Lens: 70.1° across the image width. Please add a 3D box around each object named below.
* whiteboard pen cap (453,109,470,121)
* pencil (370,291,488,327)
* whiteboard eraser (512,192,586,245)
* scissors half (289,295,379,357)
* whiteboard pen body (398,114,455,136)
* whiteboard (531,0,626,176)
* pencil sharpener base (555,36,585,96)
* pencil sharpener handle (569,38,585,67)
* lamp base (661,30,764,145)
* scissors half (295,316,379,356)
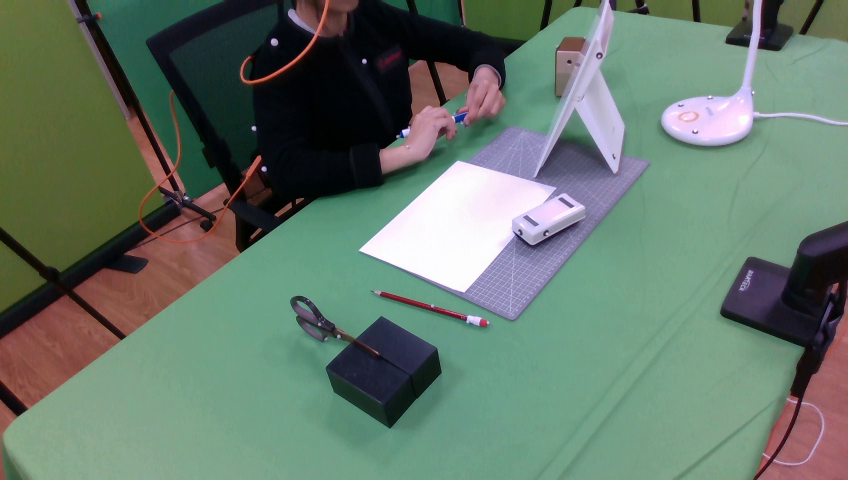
[{"bbox_3d":[0.074,-0.248,1.203,0.033,0.018,0.018,-22,42,-5],"label":"whiteboard pen cap"},{"bbox_3d":[0.003,0.097,0.877,0.193,0.012,0.012,13,45,26],"label":"pencil"},{"bbox_3d":[0.199,-0.032,0.962,0.113,0.042,0.055,-27,42,-20],"label":"whiteboard eraser"},{"bbox_3d":[-0.122,0.114,0.803,0.174,0.040,0.013,26,50,32],"label":"scissors half"},{"bbox_3d":[0.017,-0.230,1.198,0.141,0.017,0.017,-18,41,-9],"label":"whiteboard pen body"},{"bbox_3d":[0.320,-0.258,1.050,0.144,0.306,0.217,22,45,5],"label":"whiteboard"},{"bbox_3d":[0.317,-0.371,1.290,0.061,0.107,0.076,10,44,22],"label":"pencil sharpener base"},{"bbox_3d":[0.332,-0.413,1.318,0.036,0.068,0.030,19,46,13],"label":"pencil sharpener handle"},{"bbox_3d":[0.535,-0.287,1.096,0.179,0.181,0.159,-10,40,-4],"label":"lamp base"},{"bbox_3d":[-0.119,0.132,0.813,0.174,0.040,0.013,9,34,45],"label":"scissors half"}]
